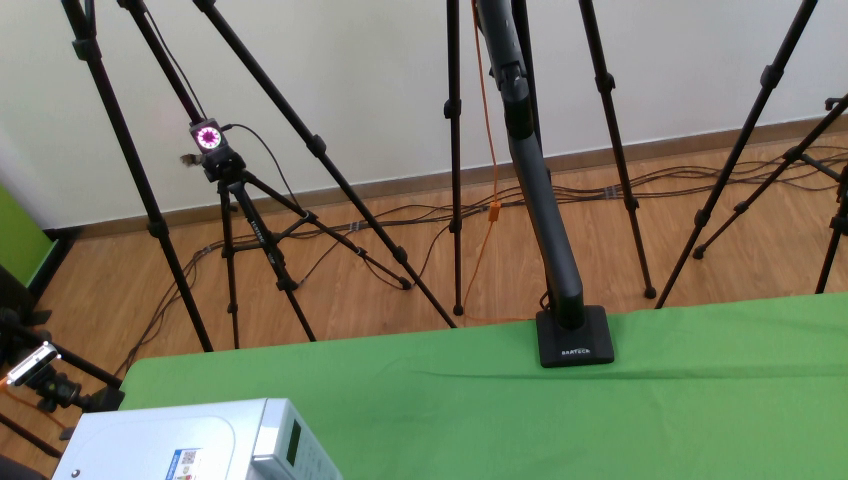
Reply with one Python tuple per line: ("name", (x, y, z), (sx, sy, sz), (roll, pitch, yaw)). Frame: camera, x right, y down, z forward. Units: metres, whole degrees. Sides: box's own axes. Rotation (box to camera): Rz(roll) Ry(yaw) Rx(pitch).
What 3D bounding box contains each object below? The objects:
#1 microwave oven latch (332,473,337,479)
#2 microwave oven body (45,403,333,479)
("microwave oven latch", (-0.146, 0.386, 0.892), (0.030, 0.030, 0.078), (-7, 44, 9))
("microwave oven body", (-0.317, 0.461, 0.724), (0.325, 0.263, 0.437), (-7, 44, 9))
